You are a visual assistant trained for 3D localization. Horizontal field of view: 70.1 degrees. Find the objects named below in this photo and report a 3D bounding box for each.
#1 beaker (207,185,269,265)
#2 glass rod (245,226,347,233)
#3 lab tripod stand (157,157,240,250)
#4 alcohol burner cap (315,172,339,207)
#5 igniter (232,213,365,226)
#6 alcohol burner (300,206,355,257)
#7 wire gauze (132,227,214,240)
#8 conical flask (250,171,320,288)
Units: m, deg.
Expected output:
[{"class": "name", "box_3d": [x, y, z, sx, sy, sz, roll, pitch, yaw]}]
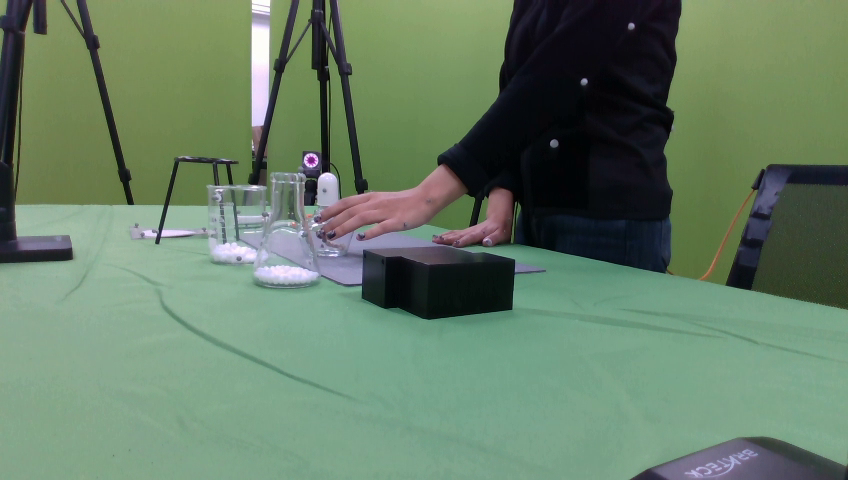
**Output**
[{"class": "beaker", "box_3d": [-0.244, -0.021, 0.784, 0.083, 0.100, 0.074, 6, 8, 30]}, {"class": "glass rod", "box_3d": [-0.237, -0.021, 1.141, 0.201, 0.008, 0.008, -3, 8, -32]}, {"class": "lab tripod stand", "box_3d": [-0.322, -0.057, 0.905, 0.148, 0.131, 0.148, 4, 7, 0]}, {"class": "alcohol burner cap", "box_3d": [-0.137, -0.072, 0.852, 0.034, 0.048, 0.034, 1, 14, 0]}, {"class": "igniter", "box_3d": [-0.246, -0.042, 1.223, 0.278, 0.025, 0.057, -3, -1, -36]}, {"class": "alcohol burner", "box_3d": [-0.137, -0.036, 0.858, 0.078, 0.119, 0.078, 1, 7, 0]}, {"class": "wire gauze", "box_3d": [-0.425, -0.013, 1.018, 0.122, 0.011, 0.124, -1, 6, -28]}, {"class": "conical flask", "box_3d": [-0.150, -0.013, 0.658, 0.075, 0.122, 0.075, 2, 7, 0]}]
